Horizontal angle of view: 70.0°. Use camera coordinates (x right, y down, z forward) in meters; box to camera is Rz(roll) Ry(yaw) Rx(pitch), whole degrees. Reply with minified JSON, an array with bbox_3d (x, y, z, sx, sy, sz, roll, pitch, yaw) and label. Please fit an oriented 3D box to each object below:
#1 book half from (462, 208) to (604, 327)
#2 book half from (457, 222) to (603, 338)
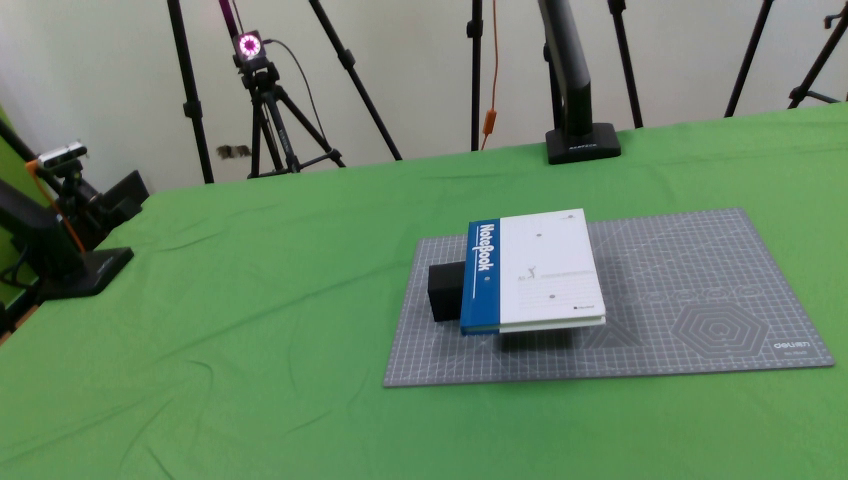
[{"bbox_3d":[0.119,0.025,0.694,0.143,0.007,0.208,-6,32,11],"label":"book half"},{"bbox_3d":[0.117,0.031,0.698,0.148,0.016,0.208,-6,32,11],"label":"book half"}]
